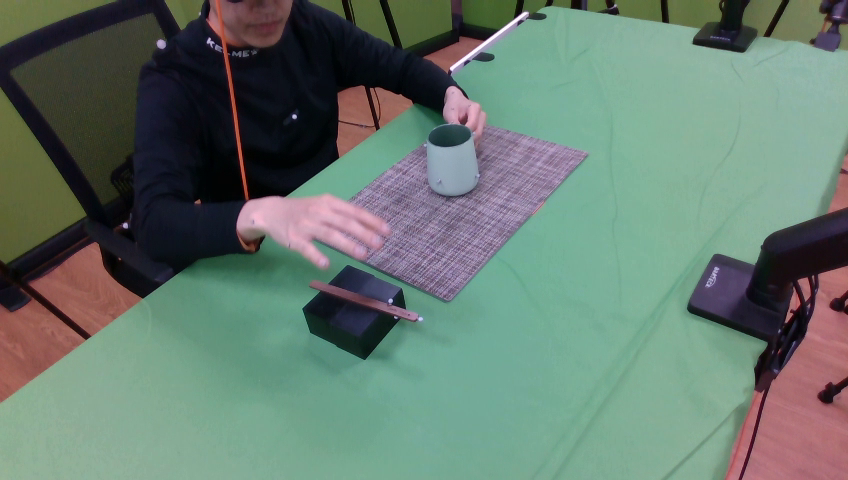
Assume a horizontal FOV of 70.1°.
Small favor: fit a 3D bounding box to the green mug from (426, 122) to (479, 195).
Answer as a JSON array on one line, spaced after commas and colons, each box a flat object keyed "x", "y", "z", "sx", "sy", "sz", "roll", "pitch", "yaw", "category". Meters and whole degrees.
[{"x": 0.053, "y": -0.151, "z": 1.067, "sx": 0.092, "sy": 0.105, "sz": 0.125, "roll": 5, "pitch": 42, "yaw": 15, "category": "green mug"}]

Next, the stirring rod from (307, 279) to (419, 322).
[{"x": -0.086, "y": 0.081, "z": 0.822, "sx": 0.175, "sy": 0.006, "sz": 0.014, "roll": 15, "pitch": 45, "yaw": 23, "category": "stirring rod"}]
